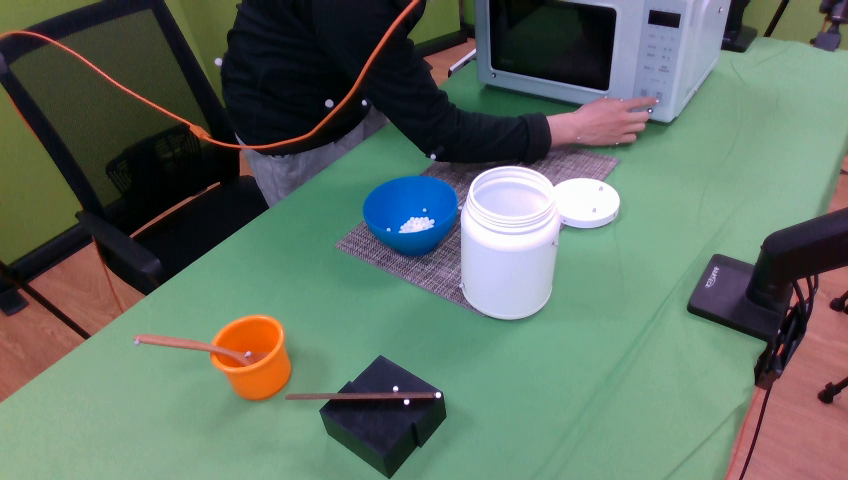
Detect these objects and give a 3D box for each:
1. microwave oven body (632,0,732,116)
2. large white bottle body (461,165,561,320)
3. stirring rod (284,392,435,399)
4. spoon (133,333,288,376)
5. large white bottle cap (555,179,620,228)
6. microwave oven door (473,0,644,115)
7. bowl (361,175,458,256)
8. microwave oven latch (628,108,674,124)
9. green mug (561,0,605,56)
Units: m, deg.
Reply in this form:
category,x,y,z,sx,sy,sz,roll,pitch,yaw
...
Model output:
category,x,y,z,sx,sy,sz,roll,pitch,yaw
microwave oven body,0.377,-0.463,1.267,0.438,0.261,0.327,21,49,30
large white bottle body,0.115,0.004,0.816,0.130,0.185,0.130,-2,43,2
stirring rod,-0.075,0.180,0.698,0.176,0.006,0.014,-2,6,7
spoon,-0.257,0.137,0.747,0.021,0.195,0.041,-46,40,23
large white bottle cap,0.265,-0.062,1.001,0.115,0.018,0.114,-4,41,4
microwave oven door,0.257,-0.396,1.199,0.353,0.245,0.039,21,48,29
bowl,-0.019,-0.028,0.955,0.151,0.077,0.150,-4,40,3
microwave oven latch,0.431,-0.240,1.149,0.079,0.029,0.030,-3,40,5
green mug,0.336,-0.450,1.292,0.092,0.105,0.125,7,49,22
